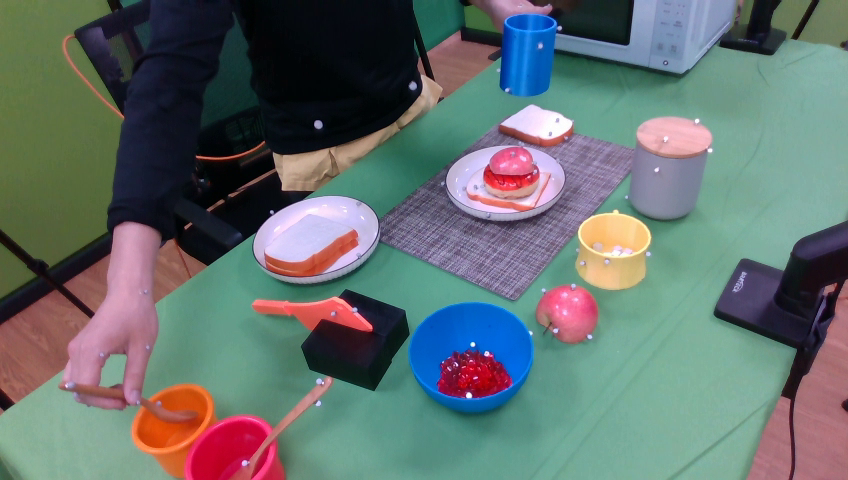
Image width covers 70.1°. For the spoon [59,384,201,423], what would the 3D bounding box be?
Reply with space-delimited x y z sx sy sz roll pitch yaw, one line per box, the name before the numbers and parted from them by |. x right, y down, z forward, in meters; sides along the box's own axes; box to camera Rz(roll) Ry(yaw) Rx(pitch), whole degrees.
spoon | -0.302 0.170 0.633 0.041 0.195 0.021 4 66 20

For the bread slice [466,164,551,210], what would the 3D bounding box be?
bread slice | 0.141 -0.094 1.041 0.133 0.018 0.107 9 43 20

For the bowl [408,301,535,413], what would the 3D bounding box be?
bowl | 0.060 0.156 0.739 0.151 0.077 0.150 -4 40 4

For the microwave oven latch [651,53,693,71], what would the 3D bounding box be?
microwave oven latch | 0.532 -0.386 1.301 0.078 0.029 0.030 27 52 34

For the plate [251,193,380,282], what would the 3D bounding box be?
plate | -0.173 -0.001 0.984 0.209 0.038 0.208 -4 41 4

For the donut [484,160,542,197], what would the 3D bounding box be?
donut | 0.149 -0.110 1.016 0.099 0.048 0.098 -4 40 4

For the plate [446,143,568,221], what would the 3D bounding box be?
plate | 0.142 -0.096 1.045 0.207 0.039 0.206 -4 41 4

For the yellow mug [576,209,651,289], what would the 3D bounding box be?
yellow mug | 0.279 0.004 0.893 0.099 0.064 0.130 6 42 14

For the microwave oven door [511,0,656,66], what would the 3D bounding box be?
microwave oven door | 0.350 -0.539 1.348 0.353 0.245 0.039 24 50 31

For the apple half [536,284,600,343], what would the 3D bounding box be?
apple half | 0.196 0.091 0.815 0.075 0.053 0.080 -22 42 -20

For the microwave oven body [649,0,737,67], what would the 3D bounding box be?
microwave oven body | 0.475 -0.602 1.411 0.438 0.261 0.327 23 50 32

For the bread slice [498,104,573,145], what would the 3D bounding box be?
bread slice | 0.231 -0.231 1.205 0.105 0.019 0.130 -36 47 -29

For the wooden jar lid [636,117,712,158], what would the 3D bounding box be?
wooden jar lid | 0.377 -0.151 0.917 0.108 0.021 0.108 -2 41 3

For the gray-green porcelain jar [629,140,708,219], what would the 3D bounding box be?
gray-green porcelain jar | 0.383 -0.105 0.958 0.106 0.127 0.105 -4 41 4

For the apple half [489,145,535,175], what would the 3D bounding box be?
apple half | 0.145 -0.138 0.995 0.081 0.033 0.081 -2 34 2

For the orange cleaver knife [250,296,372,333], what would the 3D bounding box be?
orange cleaver knife | -0.158 0.103 0.828 0.210 0.078 0.012 -3 44 39

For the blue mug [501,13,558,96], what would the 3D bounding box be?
blue mug | 0.172 -0.307 0.978 0.082 0.106 0.116 12 41 15

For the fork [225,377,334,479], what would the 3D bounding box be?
fork | -0.163 0.216 0.646 0.207 0.019 0.028 -49 42 16
